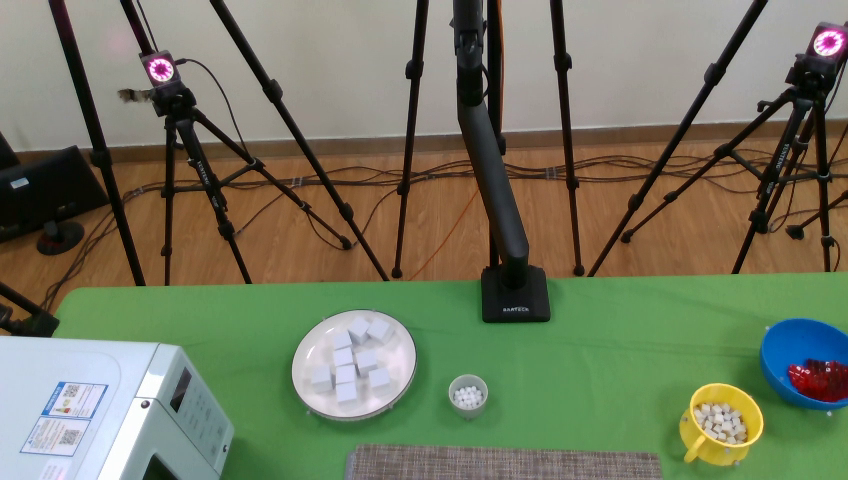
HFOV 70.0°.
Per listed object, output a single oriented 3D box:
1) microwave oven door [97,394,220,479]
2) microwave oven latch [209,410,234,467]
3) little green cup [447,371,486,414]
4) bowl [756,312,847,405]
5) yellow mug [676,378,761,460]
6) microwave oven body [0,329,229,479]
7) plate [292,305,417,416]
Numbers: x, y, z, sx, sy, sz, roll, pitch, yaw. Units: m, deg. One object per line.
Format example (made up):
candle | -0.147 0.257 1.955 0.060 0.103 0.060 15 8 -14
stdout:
microwave oven door | -0.342 0.392 0.694 0.039 0.246 0.352 1 48 7
microwave oven latch | -0.311 0.298 0.914 0.030 0.030 0.078 3 49 7
little green cup | 0.068 0.242 0.956 0.061 0.039 0.061 -3 48 3
bowl | 0.579 0.194 0.925 0.151 0.077 0.150 -3 49 4
yellow mug | 0.417 0.269 0.880 0.131 0.064 0.099 -34 54 -22
microwave oven body | -0.483 0.361 0.742 0.326 0.263 0.437 2 49 6
plate | -0.113 0.202 1.010 0.207 0.039 0.205 -3 48 3
